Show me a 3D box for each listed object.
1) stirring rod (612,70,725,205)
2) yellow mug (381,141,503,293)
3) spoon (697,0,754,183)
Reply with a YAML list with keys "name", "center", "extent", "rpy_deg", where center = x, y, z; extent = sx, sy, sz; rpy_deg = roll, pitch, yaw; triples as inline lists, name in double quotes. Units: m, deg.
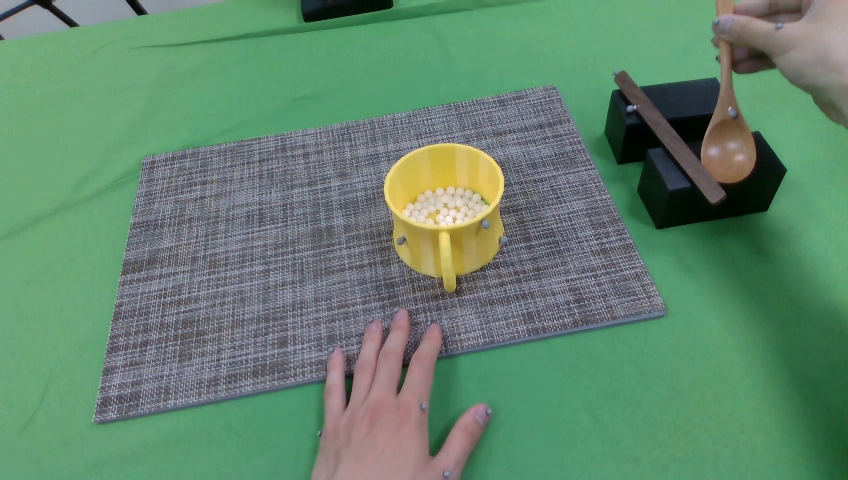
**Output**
- name: "stirring rod"
  center: [0.208, -0.095, 0.528]
  extent: [0.014, 0.006, 0.174]
  rpy_deg: [-38, 49, 22]
- name: "yellow mug"
  center: [0.018, -0.016, 0.510]
  extent: [0.100, 0.064, 0.129]
  rpy_deg: [-4, 52, 3]
- name: "spoon"
  center: [0.244, -0.142, 0.492]
  extent: [0.041, 0.022, 0.193]
  rpy_deg: [-1, 91, 28]
